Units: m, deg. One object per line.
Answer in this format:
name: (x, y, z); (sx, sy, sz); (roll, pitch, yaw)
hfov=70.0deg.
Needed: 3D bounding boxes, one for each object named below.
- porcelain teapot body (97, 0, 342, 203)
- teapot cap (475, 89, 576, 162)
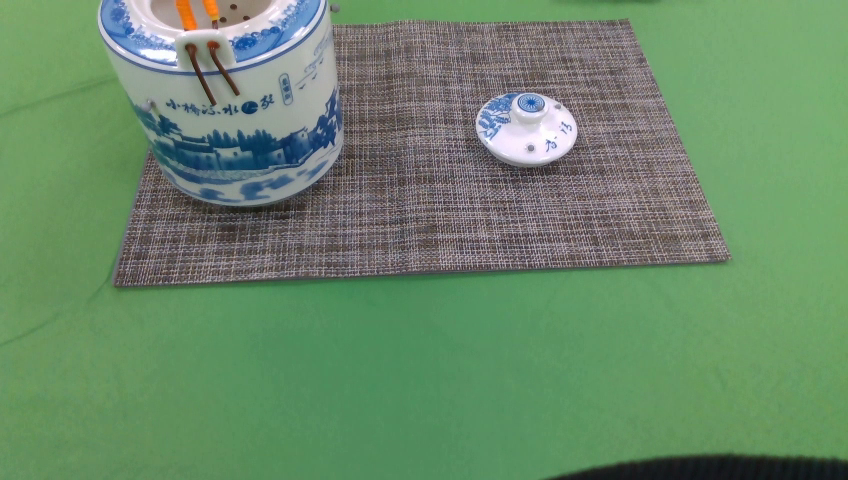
porcelain teapot body: (-0.140, -0.162, 0.425); (0.145, 0.227, 0.203); (-8, 55, -7)
teapot cap: (0.085, -0.101, 0.503); (0.085, 0.044, 0.084); (-1, 54, 1)
